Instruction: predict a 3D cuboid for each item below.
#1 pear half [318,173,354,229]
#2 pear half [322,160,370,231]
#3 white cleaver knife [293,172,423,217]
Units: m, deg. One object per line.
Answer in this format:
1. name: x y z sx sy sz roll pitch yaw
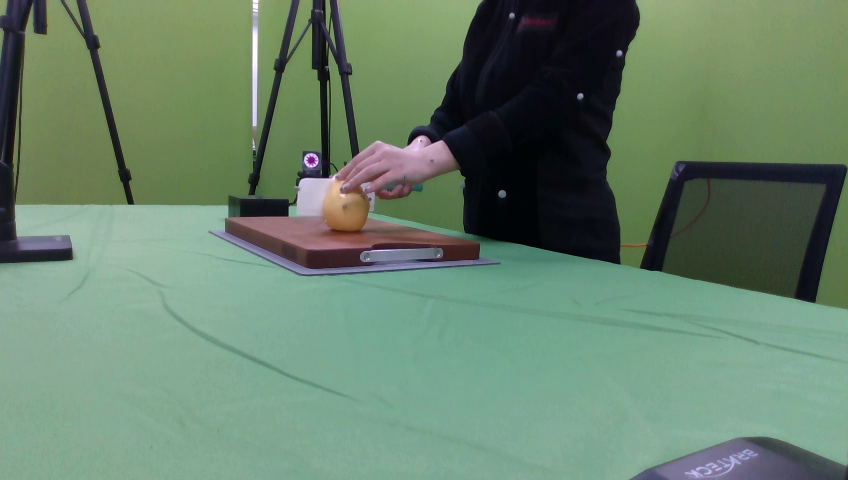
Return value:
1. pear half: -0.145 -0.061 0.959 0.031 0.088 0.071 2 11 32
2. pear half: -0.114 -0.067 0.935 0.055 0.110 0.077 7 14 33
3. white cleaver knife: -0.101 -0.077 0.994 0.021 0.066 0.288 17 17 38
